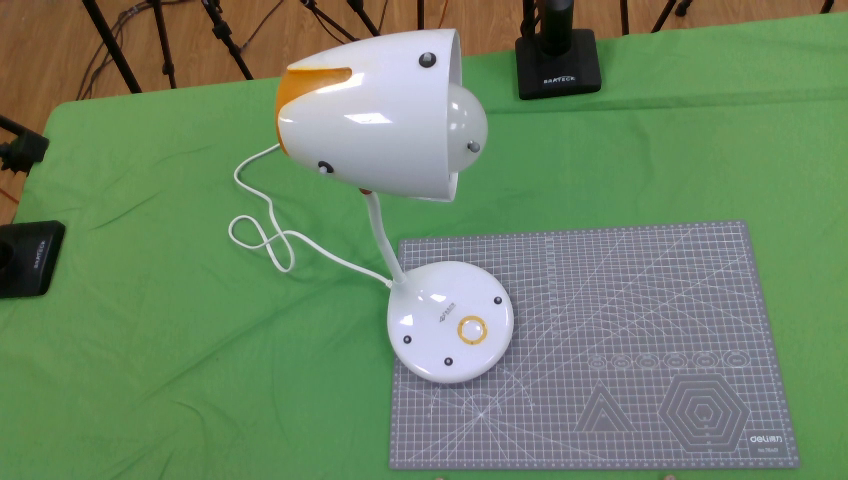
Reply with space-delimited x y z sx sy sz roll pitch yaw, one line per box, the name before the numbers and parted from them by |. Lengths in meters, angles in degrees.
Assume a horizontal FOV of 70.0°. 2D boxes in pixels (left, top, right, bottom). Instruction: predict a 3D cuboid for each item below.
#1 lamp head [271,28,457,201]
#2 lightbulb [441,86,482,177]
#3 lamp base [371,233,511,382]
lamp head | -0.037 -0.081 0.409 0.122 0.113 0.111 0 65 12
lightbulb | -0.015 -0.070 0.402 0.107 0.060 0.059 -2 64 11
lamp base | 0.005 0.061 0.699 0.178 0.182 0.160 21 69 22
